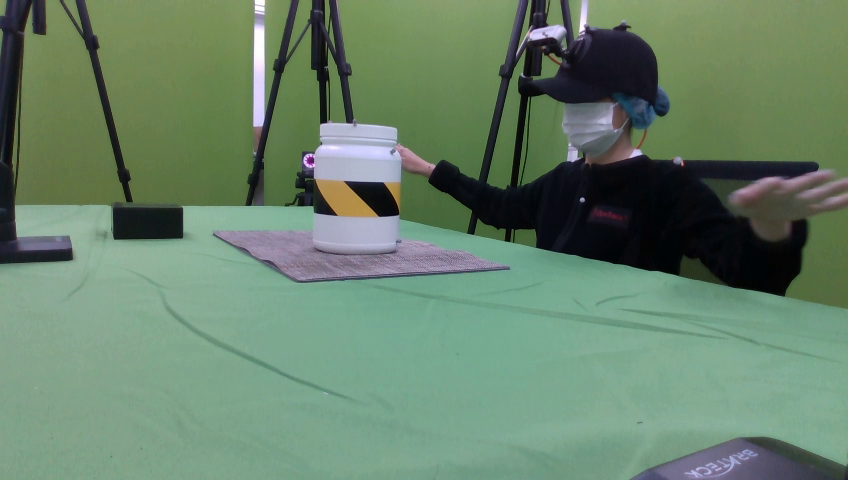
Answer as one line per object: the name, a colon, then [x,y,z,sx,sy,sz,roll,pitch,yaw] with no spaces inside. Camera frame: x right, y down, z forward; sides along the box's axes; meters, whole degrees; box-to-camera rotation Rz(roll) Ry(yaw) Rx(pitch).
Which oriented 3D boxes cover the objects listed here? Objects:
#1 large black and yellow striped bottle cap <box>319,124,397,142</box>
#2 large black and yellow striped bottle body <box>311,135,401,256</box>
large black and yellow striped bottle cap: [-0.098,-0.158,0.895,0.115,0.019,0.115,5,7,0]
large black and yellow striped bottle body: [-0.101,-0.075,0.904,0.131,0.184,0.130,3,7,0]
